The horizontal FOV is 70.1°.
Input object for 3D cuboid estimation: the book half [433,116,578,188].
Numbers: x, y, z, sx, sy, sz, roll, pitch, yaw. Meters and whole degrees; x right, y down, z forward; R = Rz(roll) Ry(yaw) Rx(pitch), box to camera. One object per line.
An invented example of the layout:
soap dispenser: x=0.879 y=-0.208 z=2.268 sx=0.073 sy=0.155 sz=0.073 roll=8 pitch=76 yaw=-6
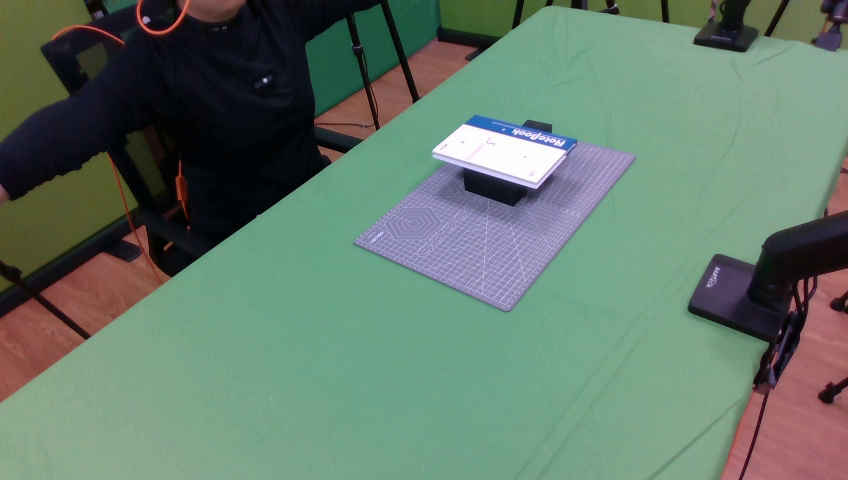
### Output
book half: x=0.140 y=-0.160 z=1.060 sx=0.208 sy=0.016 sz=0.149 roll=22 pitch=47 yaw=30

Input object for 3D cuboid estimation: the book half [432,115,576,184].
book half: x=0.138 y=-0.164 z=1.054 sx=0.208 sy=0.007 sz=0.143 roll=22 pitch=48 yaw=29
